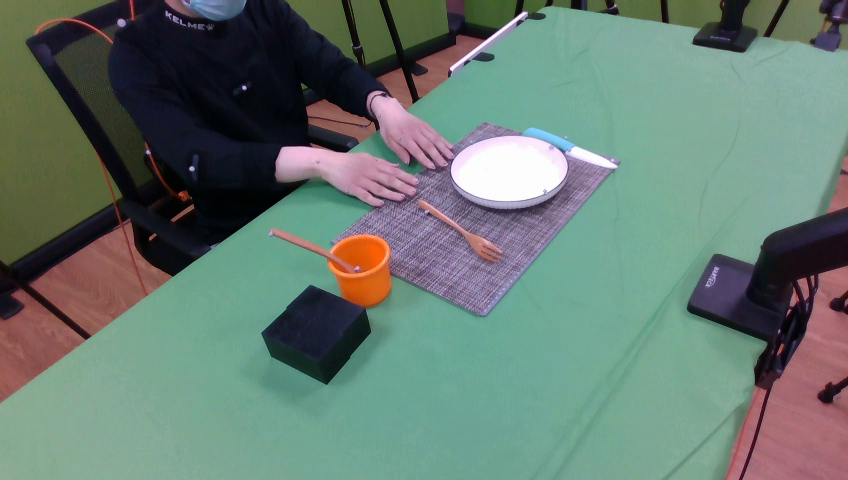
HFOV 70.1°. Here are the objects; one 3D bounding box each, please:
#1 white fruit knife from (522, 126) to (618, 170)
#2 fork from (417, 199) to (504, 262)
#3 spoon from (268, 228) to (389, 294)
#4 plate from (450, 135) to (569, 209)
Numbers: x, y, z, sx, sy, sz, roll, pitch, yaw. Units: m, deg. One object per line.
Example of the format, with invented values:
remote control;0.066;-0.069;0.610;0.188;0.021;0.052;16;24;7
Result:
white fruit knife;0.272;-0.172;1.132;0.205;0.016;0.027;32;82;34
fork;0.053;-0.021;0.981;0.019;0.028;0.205;1;27;-41
spoon;-0.132;0.027;0.859;0.021;0.195;0.041;-39;31;33
plate;0.149;-0.117;1.065;0.209;0.038;0.208;-3;41;4
